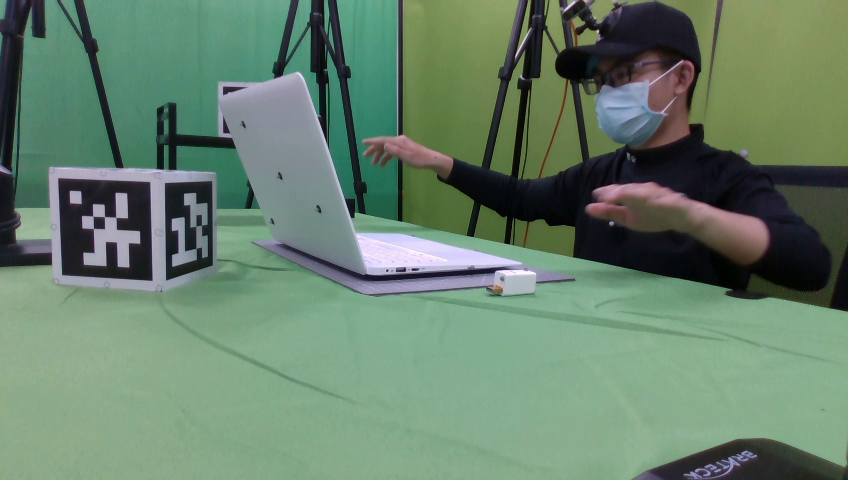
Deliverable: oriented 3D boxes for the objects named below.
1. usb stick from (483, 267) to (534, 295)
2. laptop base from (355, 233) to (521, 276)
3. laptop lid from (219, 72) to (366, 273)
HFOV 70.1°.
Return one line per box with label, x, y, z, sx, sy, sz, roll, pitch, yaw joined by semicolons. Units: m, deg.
usb stick;0.093;0.046;0.673;0.059;0.027;0.021;-5;14;-30
laptop base;-0.056;0.017;0.898;0.237;0.023;0.352;2;6;-32
laptop lid;-0.189;-0.087;0.800;0.013;0.242;0.355;-26;21;-26
